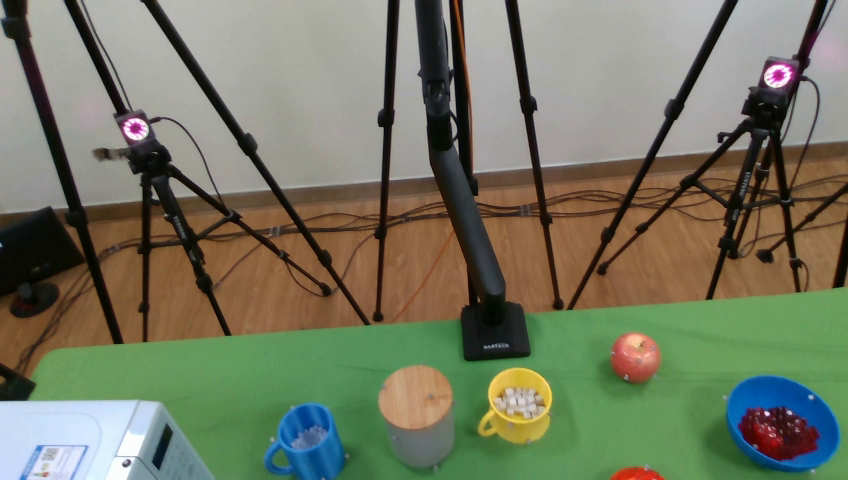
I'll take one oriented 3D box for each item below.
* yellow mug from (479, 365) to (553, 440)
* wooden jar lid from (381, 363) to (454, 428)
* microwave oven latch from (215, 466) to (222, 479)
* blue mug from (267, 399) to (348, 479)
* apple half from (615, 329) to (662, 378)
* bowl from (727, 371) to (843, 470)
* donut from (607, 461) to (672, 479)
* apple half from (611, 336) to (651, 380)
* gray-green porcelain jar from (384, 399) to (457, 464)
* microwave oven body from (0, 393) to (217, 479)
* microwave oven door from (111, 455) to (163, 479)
[{"bbox_3d":[0.142,0.267,0.968,0.131,0.064,0.099,-27,47,-19],"label":"yellow mug"},{"bbox_3d":[-0.009,0.230,0.890,0.108,0.021,0.107,-4,42,4],"label":"wooden jar lid"},{"bbox_3d":[-0.325,0.380,0.900,0.030,0.030,0.078,0,45,6],"label":"microwave oven latch"},{"bbox_3d":[-0.181,0.315,0.929,0.117,0.107,0.081,-22,46,-15],"label":"blue mug"},{"bbox_3d":[0.366,0.187,1.019,0.053,0.075,0.080,-24,42,-25],"label":"apple half"},{"bbox_3d":[0.522,0.280,0.899,0.151,0.077,0.150,-4,44,4],"label":"bowl"},{"bbox_3d":[0.309,0.362,0.858,0.099,0.049,0.098,-3,45,3],"label":"donut"},{"bbox_3d":[0.334,0.203,1.003,0.033,0.082,0.080,-25,46,-24],"label":"apple half"},{"bbox_3d":[-0.004,0.275,0.934,0.106,0.128,0.105,-3,44,4],"label":"gray-green porcelain jar"},{"bbox_3d":[-0.488,0.438,0.719,0.326,0.263,0.437,-2,45,5],"label":"microwave oven body"},{"bbox_3d":[-0.346,0.459,0.673,0.039,0.246,0.352,-2,44,5],"label":"microwave oven door"}]
